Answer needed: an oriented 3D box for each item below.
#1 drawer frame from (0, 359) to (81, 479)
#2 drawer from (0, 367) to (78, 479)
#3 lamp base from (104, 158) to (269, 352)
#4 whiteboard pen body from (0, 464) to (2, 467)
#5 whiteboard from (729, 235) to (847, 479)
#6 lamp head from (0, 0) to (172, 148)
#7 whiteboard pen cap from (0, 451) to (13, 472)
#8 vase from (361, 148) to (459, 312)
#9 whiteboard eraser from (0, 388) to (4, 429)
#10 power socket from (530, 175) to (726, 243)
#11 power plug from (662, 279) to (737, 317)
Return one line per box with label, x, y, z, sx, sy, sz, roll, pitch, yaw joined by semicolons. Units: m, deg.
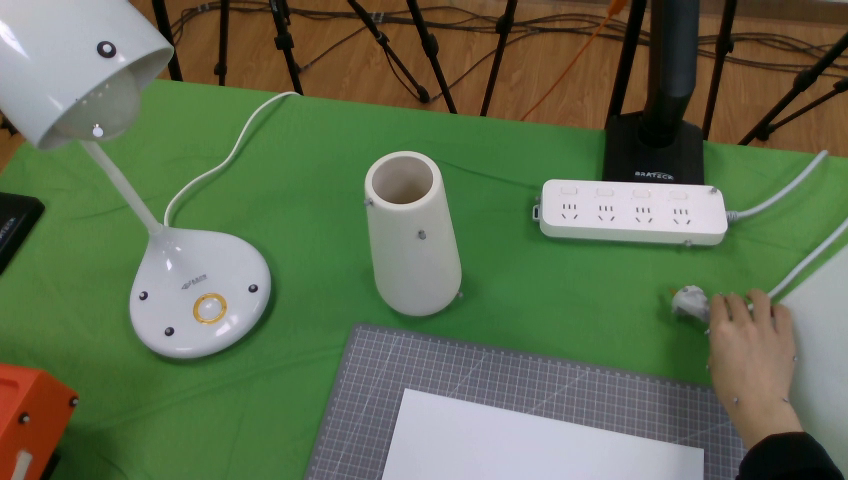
drawer frame;-0.467;0.202;0.544;0.213;0.083;0.200;8;60;8
drawer;-0.461;0.199;0.541;0.211;0.074;0.193;7;59;9
lamp base;-0.275;0.007;0.644;0.160;0.182;0.177;-40;60;-20
whiteboard pen body;-0.455;0.226;0.544;0.141;0.017;0.017;-16;57;-10
whiteboard;0.465;0.078;0.509;0.144;0.307;0.215;-8;55;-23
lamp head;-0.247;-0.137;0.390;0.123;0.112;0.112;48;67;-13
whiteboard pen cap;-0.400;0.208;0.558;0.033;0.018;0.018;-18;58;-11
vase;-0.016;-0.005;0.623;0.098;0.202;0.097;-3;57;4
whiteboard eraser;-0.458;0.179;0.598;0.112;0.042;0.055;-23;64;25
power socket;0.242;-0.038;0.724;0.226;0.033;0.071;4;59;6
power plug;0.297;0.066;0.665;0.073;0.035;0.052;21;22;-29
